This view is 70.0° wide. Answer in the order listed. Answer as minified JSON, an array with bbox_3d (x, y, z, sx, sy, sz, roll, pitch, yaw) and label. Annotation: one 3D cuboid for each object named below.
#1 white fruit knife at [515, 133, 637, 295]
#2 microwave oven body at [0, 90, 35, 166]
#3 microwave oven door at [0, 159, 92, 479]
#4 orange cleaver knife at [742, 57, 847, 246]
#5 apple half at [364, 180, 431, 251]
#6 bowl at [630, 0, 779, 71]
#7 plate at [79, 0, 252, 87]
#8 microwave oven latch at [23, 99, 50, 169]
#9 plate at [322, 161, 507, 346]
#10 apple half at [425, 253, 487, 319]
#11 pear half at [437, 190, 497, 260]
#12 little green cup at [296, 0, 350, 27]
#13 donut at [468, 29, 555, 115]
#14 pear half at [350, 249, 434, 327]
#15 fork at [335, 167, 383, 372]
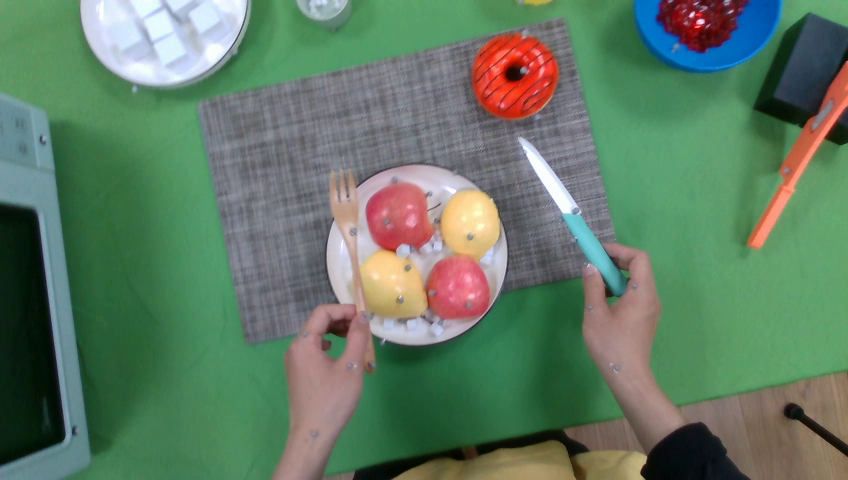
[{"bbox_3d":[0.154,-0.028,0.634,0.027,0.016,0.207,-31,84,-26],"label":"white fruit knife"},{"bbox_3d":[-0.591,0.070,0.618,0.326,0.260,0.441,-9,87,3],"label":"microwave oven body"},{"bbox_3d":[-0.441,0.087,0.602,0.039,0.244,0.355,-10,86,4],"label":"microwave oven door"},{"bbox_3d":[0.399,-0.092,0.649,0.012,0.077,0.212,25,114,10],"label":"orange cleaver knife"},{"bbox_3d":[-0.032,-0.028,0.678,0.074,0.053,0.081,-7,90,5],"label":"apple half"},{"bbox_3d":[0.296,-0.251,0.667,0.151,0.077,0.151,0,88,4],"label":"bowl"},{"bbox_3d":[-0.305,-0.283,0.730,0.207,0.039,0.207,0,87,4],"label":"plate"},{"bbox_3d":[-0.466,-0.123,0.715,0.030,0.029,0.079,-8,87,3],"label":"microwave oven latch"},{"bbox_3d":[-0.010,0.016,0.692,0.209,0.038,0.208,0,87,4],"label":"plate"},{"bbox_3d":[0.028,0.053,0.670,0.081,0.033,0.081,2,95,27],"label":"apple half"},{"bbox_3d":[0.043,-0.013,0.676,0.070,0.031,0.088,11,91,25],"label":"pear half"},{"bbox_3d":[-0.117,-0.285,0.717,0.061,0.039,0.061,0,87,5],"label":"little green cup"},{"bbox_3d":[0.099,-0.191,0.690,0.099,0.048,0.099,0,88,6],"label":"donut"},{"bbox_3d":[-0.031,0.060,0.677,0.109,0.056,0.076,39,95,4],"label":"pear half"},{"bbox_3d":[-0.063,0.031,0.603,0.028,0.019,0.207,-6,92,33],"label":"fork"}]
